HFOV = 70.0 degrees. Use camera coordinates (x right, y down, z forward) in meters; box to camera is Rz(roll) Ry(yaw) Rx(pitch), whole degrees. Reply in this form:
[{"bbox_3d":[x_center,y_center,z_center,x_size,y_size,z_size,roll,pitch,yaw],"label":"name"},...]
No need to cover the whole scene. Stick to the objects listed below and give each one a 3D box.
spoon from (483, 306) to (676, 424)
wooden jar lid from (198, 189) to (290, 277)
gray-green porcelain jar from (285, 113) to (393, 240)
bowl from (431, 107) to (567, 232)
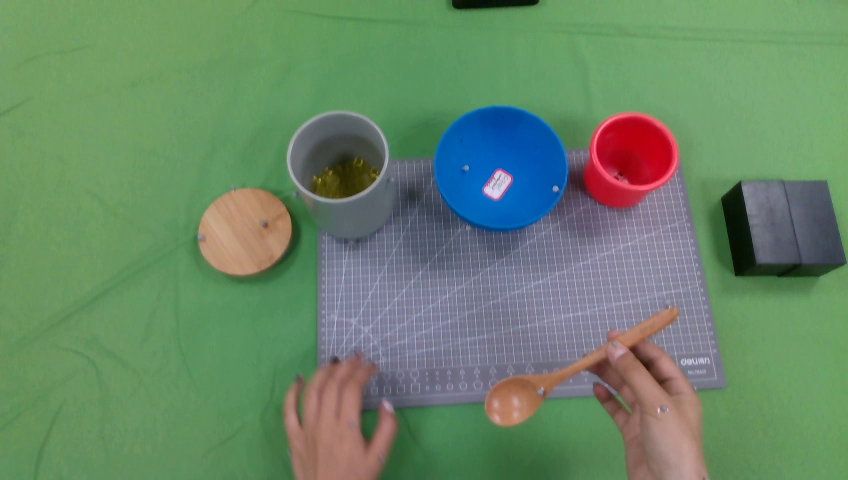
[{"bbox_3d":[0.132,0.110,0.529,0.194,0.022,0.041,-36,80,26],"label":"spoon"},{"bbox_3d":[-0.212,-0.007,0.719,0.108,0.021,0.107,0,71,1],"label":"wooden jar lid"},{"bbox_3d":[-0.089,-0.064,0.678,0.106,0.127,0.105,0,71,0],"label":"gray-green porcelain jar"},{"bbox_3d":[0.084,-0.070,0.705,0.151,0.077,0.150,0,71,0],"label":"bowl"}]
